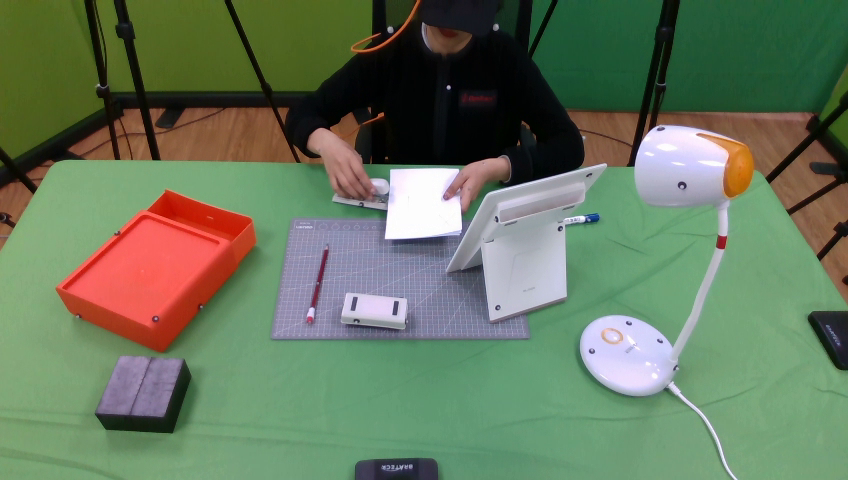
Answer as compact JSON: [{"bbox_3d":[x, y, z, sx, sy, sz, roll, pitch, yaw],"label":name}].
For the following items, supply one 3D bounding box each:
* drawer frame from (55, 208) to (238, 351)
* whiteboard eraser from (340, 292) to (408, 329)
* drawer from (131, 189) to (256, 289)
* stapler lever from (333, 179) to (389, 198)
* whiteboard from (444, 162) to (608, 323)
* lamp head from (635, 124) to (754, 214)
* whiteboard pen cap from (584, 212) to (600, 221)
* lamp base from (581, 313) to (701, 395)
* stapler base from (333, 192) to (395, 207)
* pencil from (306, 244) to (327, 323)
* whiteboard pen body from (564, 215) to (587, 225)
[{"bbox_3d":[-0.474,0.062,1.059,0.201,0.083,0.213,19,48,13],"label":"drawer frame"},{"bbox_3d":[-0.087,0.125,1.052,0.113,0.042,0.055,5,45,1],"label":"whiteboard eraser"},{"bbox_3d":[-0.449,0.018,1.105,0.194,0.073,0.211,19,48,12],"label":"drawer"},{"bbox_3d":[-0.130,-0.110,1.252,0.118,0.040,0.026,7,46,11],"label":"stapler lever"},{"bbox_3d":[0.186,0.026,1.028,0.217,0.306,0.143,-14,68,-18],"label":"whiteboard"},{"bbox_3d":[0.351,-0.089,0.775,0.112,0.113,0.122,-30,30,-28],"label":"lamp head"},{"bbox_3d":[0.351,-0.048,1.271,0.033,0.018,0.018,-6,47,-11],"label":"whiteboard pen cap"},{"bbox_3d":[0.361,0.144,0.972,0.178,0.181,0.160,34,53,23],"label":"lamp base"},{"bbox_3d":[-0.126,-0.095,1.269,0.130,0.024,0.041,6,46,12],"label":"stapler base"},{"bbox_3d":[-0.196,0.076,1.115,0.012,0.012,0.193,4,44,0],"label":"pencil"},{"bbox_3d":[0.291,-0.040,1.261,0.141,0.017,0.017,-6,47,-11],"label":"whiteboard pen body"}]
